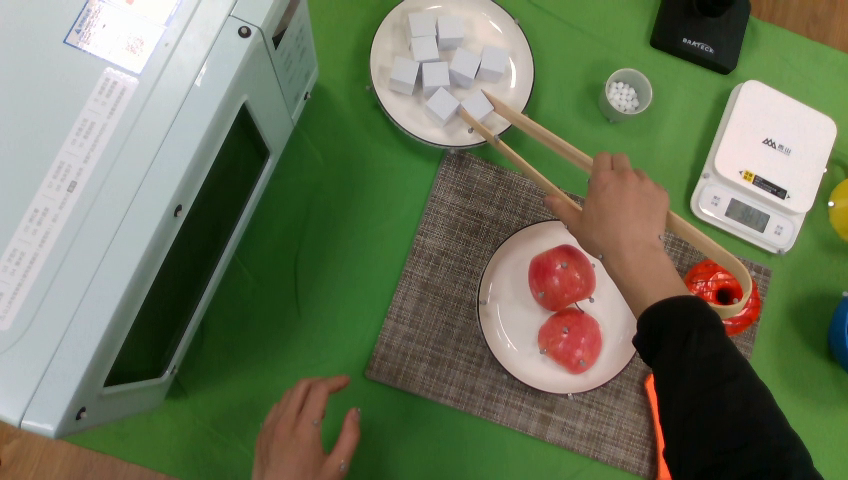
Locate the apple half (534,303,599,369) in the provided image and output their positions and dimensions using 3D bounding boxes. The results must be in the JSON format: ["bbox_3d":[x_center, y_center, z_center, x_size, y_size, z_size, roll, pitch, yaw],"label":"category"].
[{"bbox_3d":[0.175,0.112,0.722,0.081,0.033,0.081,0,83,-1],"label":"apple half"}]

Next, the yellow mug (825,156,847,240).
[{"bbox_3d":[0.587,-0.063,0.788,0.100,0.064,0.130,-12,83,-7],"label":"yellow mug"}]

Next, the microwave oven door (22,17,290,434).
[{"bbox_3d":[-0.230,-0.005,0.582,0.039,0.244,0.355,23,80,-2],"label":"microwave oven door"}]

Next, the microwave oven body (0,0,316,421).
[{"bbox_3d":[-0.348,-0.100,0.588,0.326,0.260,0.440,23,81,-3],"label":"microwave oven body"}]

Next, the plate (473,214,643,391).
[{"bbox_3d":[0.159,0.074,0.733,0.209,0.038,0.208,1,82,-6],"label":"plate"}]

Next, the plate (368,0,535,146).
[{"bbox_3d":[0.034,-0.215,0.763,0.208,0.039,0.207,1,82,-6],"label":"plate"}]

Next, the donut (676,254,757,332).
[{"bbox_3d":[0.361,0.064,0.753,0.099,0.048,0.098,1,82,-4],"label":"donut"}]

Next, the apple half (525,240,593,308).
[{"bbox_3d":[0.164,0.038,0.723,0.081,0.053,0.074,-18,81,-10],"label":"apple half"}]

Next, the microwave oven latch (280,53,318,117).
[{"bbox_3d":[-0.153,-0.189,0.720,0.030,0.029,0.079,26,81,-2],"label":"microwave oven latch"}]

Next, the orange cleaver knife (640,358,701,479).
[{"bbox_3d":[0.300,0.250,0.733,0.077,0.012,0.210,3,80,-12],"label":"orange cleaver knife"}]

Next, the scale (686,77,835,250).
[{"bbox_3d":[0.442,-0.102,0.795,0.149,0.031,0.200,25,81,-2],"label":"scale"}]

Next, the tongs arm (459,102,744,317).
[{"bbox_3d":[0.170,-0.051,0.657,0.051,0.027,0.381,-34,58,-11],"label":"tongs arm"}]

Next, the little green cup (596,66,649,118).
[{"bbox_3d":[0.253,-0.189,0.783,0.061,0.038,0.061,1,81,-6],"label":"little green cup"}]

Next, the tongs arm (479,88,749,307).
[{"bbox_3d":[0.188,-0.065,0.662,0.028,0.028,0.383,-36,59,-17],"label":"tongs arm"}]

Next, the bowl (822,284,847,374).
[{"bbox_3d":[0.559,0.114,0.755,0.151,0.077,0.151,1,82,-6],"label":"bowl"}]
